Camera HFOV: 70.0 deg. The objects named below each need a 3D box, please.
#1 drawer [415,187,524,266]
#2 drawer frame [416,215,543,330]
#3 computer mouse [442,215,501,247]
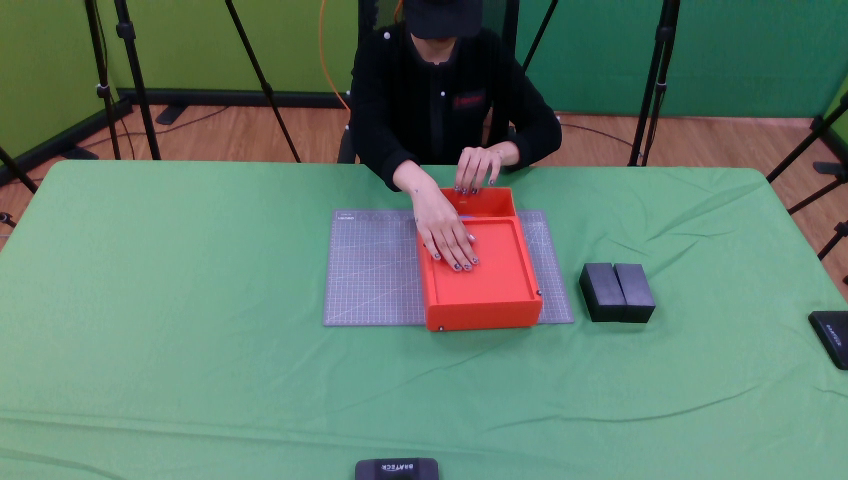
[{"bbox_3d":[0.087,-0.010,1.168,0.195,0.073,0.210,0,45,-6],"label":"drawer"},{"bbox_3d":[0.094,0.054,1.108,0.202,0.083,0.212,-2,47,-7],"label":"drawer frame"},{"bbox_3d":[0.094,-0.018,1.197,0.117,0.041,0.062,4,43,-8],"label":"computer mouse"}]
